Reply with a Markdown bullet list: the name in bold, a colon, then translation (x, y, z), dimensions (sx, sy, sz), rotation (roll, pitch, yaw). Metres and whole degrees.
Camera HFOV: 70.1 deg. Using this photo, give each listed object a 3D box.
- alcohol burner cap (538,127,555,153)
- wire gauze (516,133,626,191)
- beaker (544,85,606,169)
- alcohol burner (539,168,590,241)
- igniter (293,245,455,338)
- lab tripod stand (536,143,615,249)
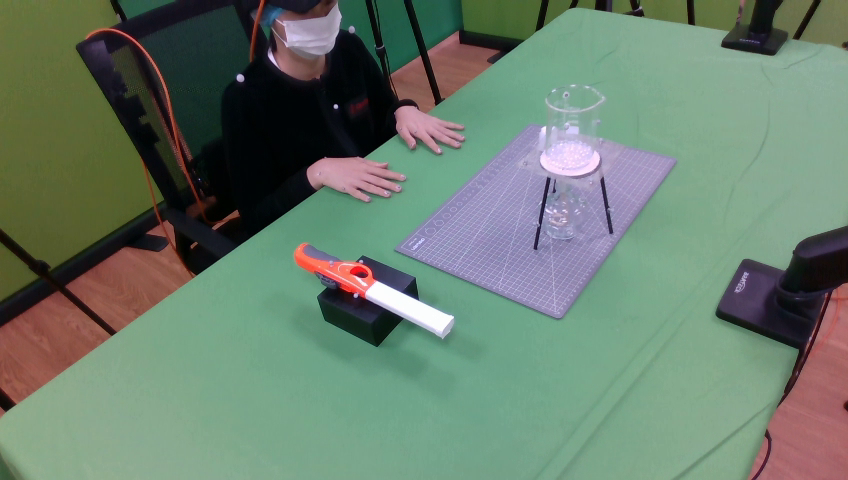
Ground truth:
- **alcohol burner cap**: translation (0.234, -0.191, 1.147), dimensions (0.034, 0.048, 0.033), rotation (-5, 40, 5)
- **wire gauze**: translation (0.217, -0.122, 0.893), dimensions (0.124, 0.011, 0.122), rotation (20, 47, 32)
- **beaker**: translation (0.212, -0.158, 0.861), dimensions (0.084, 0.101, 0.073), rotation (-3, 41, 6)
- **alcohol burner**: translation (0.217, -0.059, 0.935), dimensions (0.078, 0.119, 0.077), rotation (-6, 40, 6)
- **igniter**: translation (-0.079, 0.065, 0.833), dimensions (0.274, 0.025, 0.057), rotation (23, 48, 27)
- **lab tripod stand**: translation (0.224, -0.069, 0.931), dimensions (0.148, 0.132, 0.147), rotation (-4, 42, 4)
